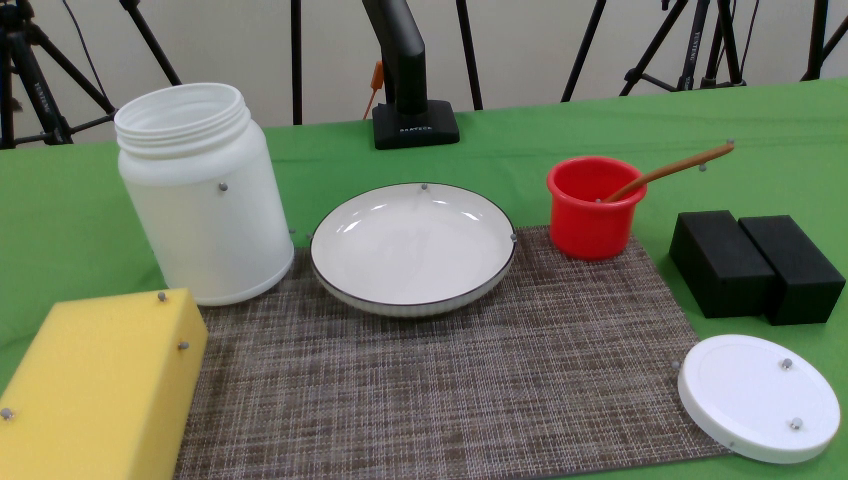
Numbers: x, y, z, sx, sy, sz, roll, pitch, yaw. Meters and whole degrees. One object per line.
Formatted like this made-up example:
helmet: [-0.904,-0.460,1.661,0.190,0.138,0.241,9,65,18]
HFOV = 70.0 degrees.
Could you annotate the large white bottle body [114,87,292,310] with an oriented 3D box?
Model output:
large white bottle body: [-0.209,-0.040,0.583,0.130,0.186,0.129,-3,35,3]

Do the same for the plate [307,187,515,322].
plate: [-0.012,0.014,0.621,0.209,0.038,0.207,-1,37,1]

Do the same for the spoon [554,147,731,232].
spoon: [0.207,-0.047,0.598,0.022,0.193,0.041,51,47,-6]

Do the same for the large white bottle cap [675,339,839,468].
large white bottle cap: [0.259,0.124,0.475,0.115,0.018,0.113,0,37,0]

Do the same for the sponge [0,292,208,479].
sponge: [-0.249,0.134,0.461,0.118,0.061,0.204,-7,36,-3]
